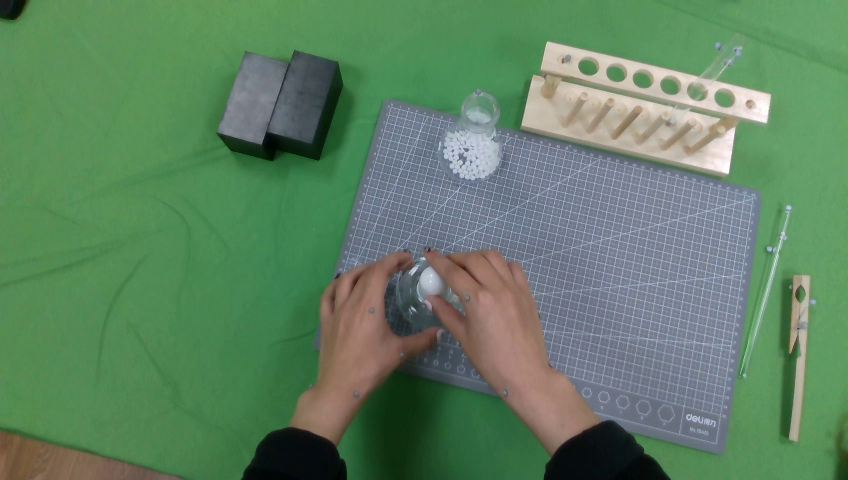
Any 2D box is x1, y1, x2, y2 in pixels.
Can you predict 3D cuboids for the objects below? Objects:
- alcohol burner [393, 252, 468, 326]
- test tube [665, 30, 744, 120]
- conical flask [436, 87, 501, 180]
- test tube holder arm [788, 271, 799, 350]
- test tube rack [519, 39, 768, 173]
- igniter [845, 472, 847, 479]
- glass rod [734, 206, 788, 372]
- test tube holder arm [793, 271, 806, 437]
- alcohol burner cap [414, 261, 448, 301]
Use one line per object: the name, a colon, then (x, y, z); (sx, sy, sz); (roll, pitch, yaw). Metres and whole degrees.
alcohol burner: (0.007, 0.046, 0.610); (0.078, 0.119, 0.077); (0, 76, 0)
test tube: (0.285, -0.165, 0.628); (0.017, 0.151, 0.017); (1, 72, -2)
conical flask: (0.052, -0.116, 0.640); (0.075, 0.122, 0.075); (0, 78, -1)
test tube holder arm: (0.408, 0.078, 0.668); (0.010, 0.015, 0.087); (0, 76, 36)
test tube rack: (0.236, -0.145, 0.674); (0.242, 0.085, 0.066); (14, 78, 1)
igniter: (0.484, 0.189, 0.642); (0.057, 0.025, 0.275); (24, 79, -7)
glass rod: (0.377, 0.053, 0.676); (0.008, 0.008, 0.199); (21, 81, 3)
test tube holder arm: (0.407, 0.122, 0.656); (0.013, 0.015, 0.177); (-2, 75, 36)
alcohol burner cap: (0.008, 0.036, 0.575); (0.034, 0.048, 0.033); (1, 69, -3)
